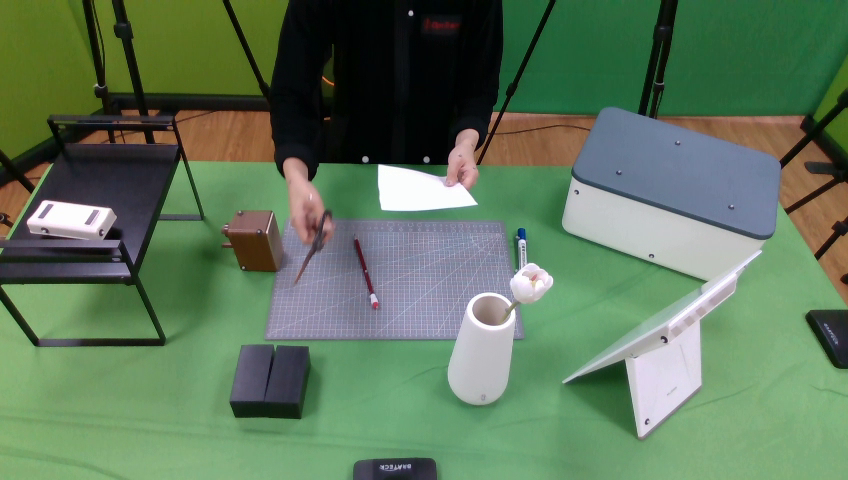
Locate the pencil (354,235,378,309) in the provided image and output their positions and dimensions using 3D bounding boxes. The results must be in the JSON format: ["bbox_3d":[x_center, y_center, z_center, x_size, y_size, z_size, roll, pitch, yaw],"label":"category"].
[{"bbox_3d":[-0.113,0.055,1.143,0.012,0.012,0.192,-10,46,-13],"label":"pencil"}]

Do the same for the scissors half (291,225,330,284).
[{"bbox_3d":[-0.181,0.023,0.968,0.013,0.040,0.174,19,28,1],"label":"scissors half"}]

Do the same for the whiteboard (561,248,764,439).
[{"bbox_3d":[0.386,0.176,0.905,0.217,0.306,0.143,-26,72,-27],"label":"whiteboard"}]

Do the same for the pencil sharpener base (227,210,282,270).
[{"bbox_3d":[-0.311,0.001,1.112,0.077,0.107,0.061,1,47,1],"label":"pencil sharpener base"}]

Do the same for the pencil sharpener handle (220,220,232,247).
[{"bbox_3d":[-0.362,-0.009,1.105,0.030,0.068,0.036,1,52,1],"label":"pencil sharpener handle"}]

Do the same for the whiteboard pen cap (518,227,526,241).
[{"bbox_3d":[0.197,-0.009,1.219,0.018,0.018,0.033,6,52,2],"label":"whiteboard pen cap"}]

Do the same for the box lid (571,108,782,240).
[{"bbox_3d":[0.491,-0.139,1.168,0.370,0.015,0.262,21,49,15],"label":"box lid"}]

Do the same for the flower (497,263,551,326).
[{"bbox_3d":[0.102,0.121,0.853,0.044,0.363,0.038,-2,64,-10],"label":"flower"}]

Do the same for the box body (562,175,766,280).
[{"bbox_3d":[0.486,-0.088,1.222,0.363,0.161,0.253,20,48,15],"label":"box body"}]

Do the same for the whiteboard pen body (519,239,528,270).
[{"bbox_3d":[0.193,0.035,1.180,0.017,0.017,0.140,6,48,1],"label":"whiteboard pen body"}]

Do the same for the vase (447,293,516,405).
[{"bbox_3d":[0.091,0.169,0.921,0.098,0.201,0.097,3,47,-3],"label":"vase"}]

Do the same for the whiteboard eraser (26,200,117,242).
[{"bbox_3d":[-0.532,-0.026,0.919,0.113,0.042,0.055,7,45,3],"label":"whiteboard eraser"}]

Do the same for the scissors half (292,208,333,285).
[{"bbox_3d":[-0.177,0.007,0.956,0.013,0.040,0.174,14,45,3],"label":"scissors half"}]
